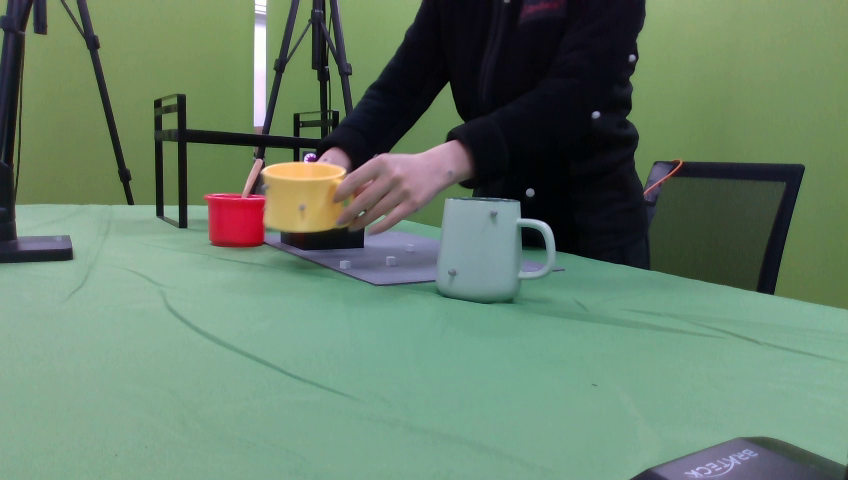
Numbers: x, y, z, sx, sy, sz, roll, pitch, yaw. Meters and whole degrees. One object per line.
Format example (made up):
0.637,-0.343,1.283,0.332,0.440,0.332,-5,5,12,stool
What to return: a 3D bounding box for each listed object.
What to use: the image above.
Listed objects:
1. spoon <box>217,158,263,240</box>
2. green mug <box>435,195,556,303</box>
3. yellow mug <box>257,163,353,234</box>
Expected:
-0.288,-0.070,0.974,0.041,0.021,0.193,6,51,1,spoon
0.074,0.009,0.624,0.125,0.105,0.093,5,8,24,green mug
-0.139,-0.050,0.738,0.130,0.064,0.100,14,22,28,yellow mug
